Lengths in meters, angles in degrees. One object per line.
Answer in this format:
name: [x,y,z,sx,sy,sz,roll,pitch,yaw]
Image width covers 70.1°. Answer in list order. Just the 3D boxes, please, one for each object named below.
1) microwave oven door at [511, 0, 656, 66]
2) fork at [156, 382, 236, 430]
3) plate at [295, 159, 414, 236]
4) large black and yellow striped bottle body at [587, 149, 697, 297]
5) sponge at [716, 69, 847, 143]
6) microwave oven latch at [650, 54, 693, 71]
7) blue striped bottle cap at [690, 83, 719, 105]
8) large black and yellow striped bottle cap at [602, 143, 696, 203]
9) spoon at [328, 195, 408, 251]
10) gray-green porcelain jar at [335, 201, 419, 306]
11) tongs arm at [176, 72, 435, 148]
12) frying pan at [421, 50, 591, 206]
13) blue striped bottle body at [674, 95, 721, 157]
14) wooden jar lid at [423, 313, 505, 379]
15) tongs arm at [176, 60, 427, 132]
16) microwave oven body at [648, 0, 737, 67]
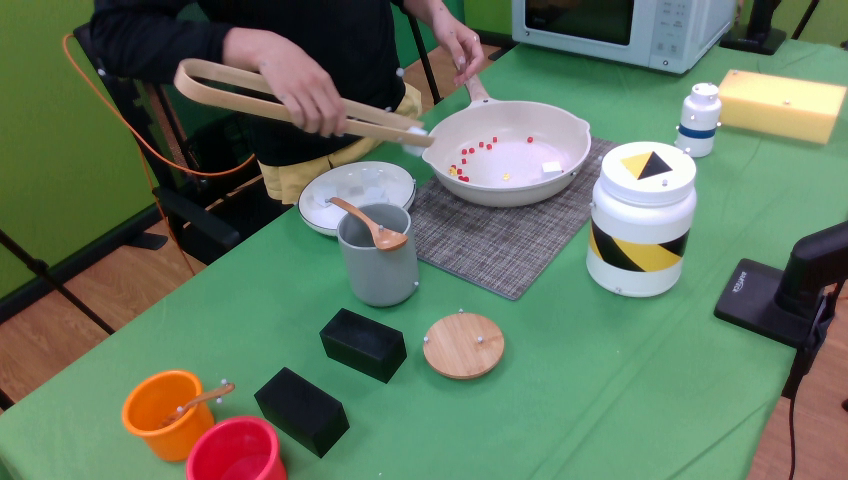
microwave oven door: [0.350,-0.539,1.349,0.353,0.245,0.039,24,50,31]
fork: [-0.262,0.189,0.690,0.018,0.206,0.028,49,43,-6]
plate: [-0.118,-0.070,1.055,0.207,0.039,0.206,-5,40,5]
large black and yellow striped bottle body: [0.298,-0.026,0.835,0.131,0.185,0.130,-4,41,4]
sponge: [0.663,-0.256,1.142,0.205,0.061,0.118,19,47,28]
microwave oven latch: [0.531,-0.386,1.301,0.078,0.029,0.030,26,51,33]
blue striped bottle cap: [0.481,-0.251,1.038,0.044,0.021,0.044,-5,40,5]
large black and yellow striped bottle cap: [0.289,-0.088,0.779,0.115,0.019,0.114,-5,39,4]
spoon: [-0.083,-0.029,0.829,0.042,0.022,0.192,-31,42,-22]
gray-green porcelain jar: [-0.064,0.024,0.872,0.106,0.127,0.105,-4,41,4]
tongs arm: [-0.143,-0.173,0.855,0.391,0.027,0.028,6,54,-37]
frying pan: [0.127,-0.233,1.155,0.307,0.103,0.484,-10,49,-5]
blue striped bottle body: [0.486,-0.213,1.071,0.063,0.121,0.063,-4,41,4]
wooden jar lid: [0.053,0.142,0.800,0.108,0.021,0.108,-5,39,4]
tongs arm: [-0.152,-0.194,0.868,0.388,0.026,0.050,9,49,-35]
microwave oven body: [0.475,-0.602,1.411,0.438,0.261,0.327,23,50,32]
